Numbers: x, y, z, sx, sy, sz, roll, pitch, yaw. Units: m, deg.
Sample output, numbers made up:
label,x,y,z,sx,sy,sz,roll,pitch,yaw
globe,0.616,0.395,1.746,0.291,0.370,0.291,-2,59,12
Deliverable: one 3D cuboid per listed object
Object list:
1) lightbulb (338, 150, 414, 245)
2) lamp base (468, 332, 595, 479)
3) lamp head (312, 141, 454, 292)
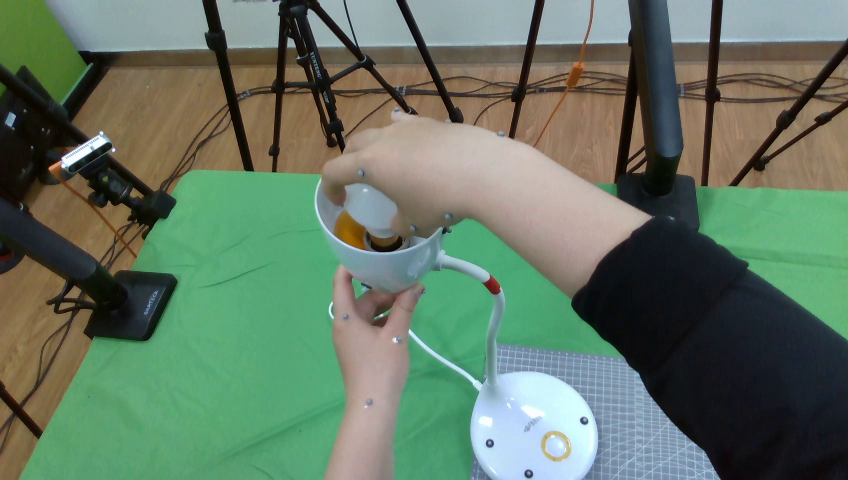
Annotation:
label,x,y,z,sx,sy,sz,roll,pitch,yaw
lightbulb,-0.037,-0.029,0.492,0.059,0.108,0.059,1,61,-1
lamp base,0.116,0.188,0.721,0.177,0.182,0.160,27,61,29
lamp head,-0.029,-0.007,0.527,0.112,0.124,0.111,-3,57,5
